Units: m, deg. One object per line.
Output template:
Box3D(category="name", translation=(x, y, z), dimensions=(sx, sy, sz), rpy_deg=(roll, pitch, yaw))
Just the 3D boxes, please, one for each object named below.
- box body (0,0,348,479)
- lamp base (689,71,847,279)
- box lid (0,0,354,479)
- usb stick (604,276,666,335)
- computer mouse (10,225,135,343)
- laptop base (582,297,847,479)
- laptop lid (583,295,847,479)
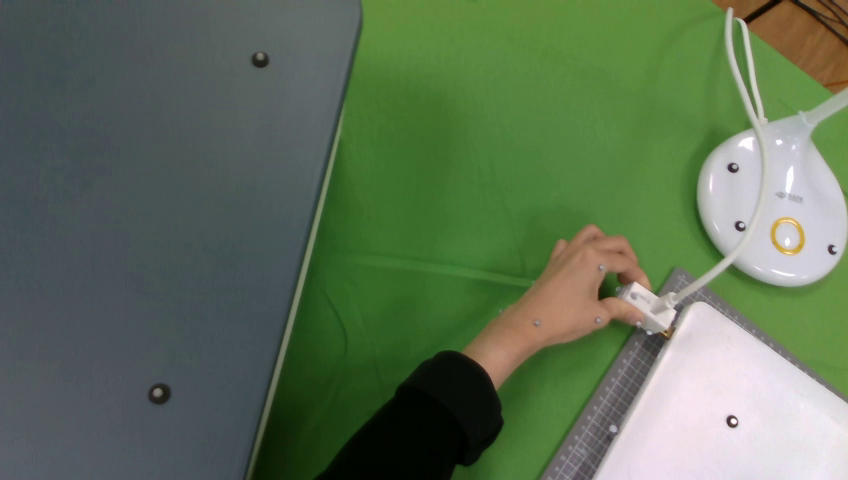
Box3D(category="box body", translation=(-0.211, -0.006, 0.406), dimensions=(0.255, 0.161, 0.362), rpy_deg=(12, 70, -7))
Box3D(category="lamp base", translation=(0.346, -0.075, 0.527), dimensions=(0.161, 0.181, 0.178), rpy_deg=(1, 69, -10))
Box3D(category="box lid", translation=(-0.198, -0.031, 0.338), dimensions=(0.264, 0.015, 0.369), rpy_deg=(12, 71, -7))
Box3D(category="usb stick", translation=(0.188, 0.059, 0.523), dimensions=(0.059, 0.027, 0.021), rpy_deg=(38, 60, -5))
Box3D(category="computer mouse", translation=(-0.253, 0.023, 0.441), dimensions=(0.063, 0.041, 0.116), rpy_deg=(-15, 35, -6))
Box3D(category="laptop base", translation=(0.309, 0.237, 0.502), dimensions=(0.354, 0.023, 0.235), rpy_deg=(36, 72, 2))
Box3D(category="laptop lid", translation=(0.309, 0.234, 0.491), dimensions=(0.356, 0.013, 0.241), rpy_deg=(37, 72, 3))
